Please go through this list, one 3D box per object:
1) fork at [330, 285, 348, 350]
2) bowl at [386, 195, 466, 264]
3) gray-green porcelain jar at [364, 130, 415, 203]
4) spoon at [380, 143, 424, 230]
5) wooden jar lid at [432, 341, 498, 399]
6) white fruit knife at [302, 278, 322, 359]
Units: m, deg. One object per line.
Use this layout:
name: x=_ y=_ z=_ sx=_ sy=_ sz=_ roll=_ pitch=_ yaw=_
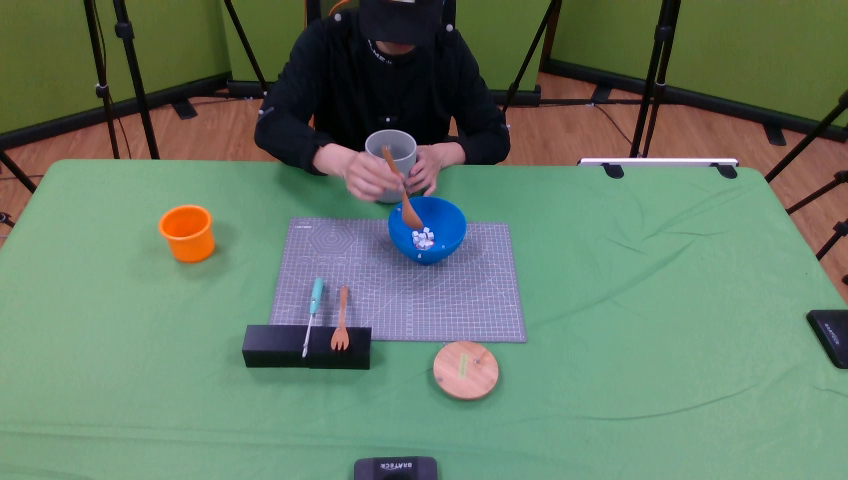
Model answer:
fork: x=-0.140 y=0.127 z=1.021 sx=0.028 sy=0.019 sz=0.206 roll=-5 pitch=28 yaw=-3
bowl: x=0.002 y=-0.007 z=1.162 sx=0.151 sy=0.077 sz=0.150 roll=2 pitch=46 yaw=-2
gray-green porcelain jar: x=-0.073 y=-0.149 z=1.264 sx=0.106 sy=0.127 sz=0.105 roll=2 pitch=46 yaw=-2
spoon: x=-0.041 y=-0.090 z=1.066 sx=0.041 sy=0.195 sz=0.021 roll=6 pitch=43 yaw=32
wooden jar lid: x=0.067 y=0.216 z=0.997 sx=0.108 sy=0.021 sz=0.107 roll=1 pitch=46 yaw=-1
white fruit knife: x=-0.189 y=0.126 z=1.020 sx=0.016 sy=0.027 sz=0.206 roll=0 pitch=33 yaw=-2
